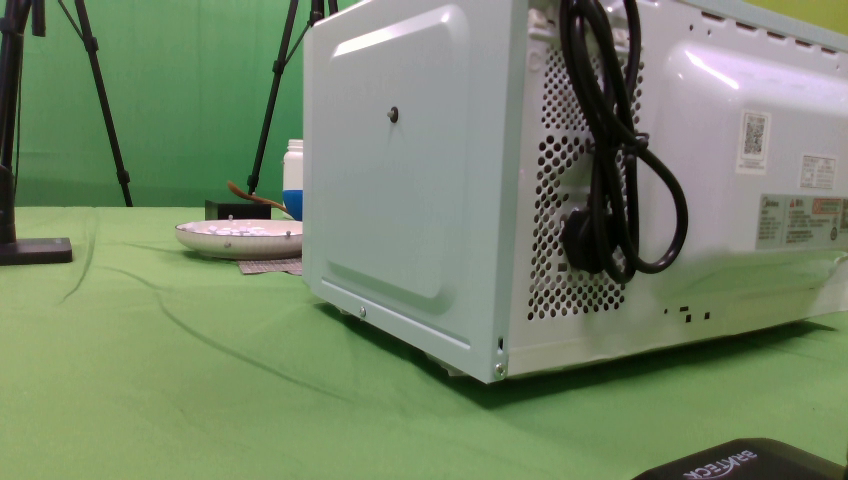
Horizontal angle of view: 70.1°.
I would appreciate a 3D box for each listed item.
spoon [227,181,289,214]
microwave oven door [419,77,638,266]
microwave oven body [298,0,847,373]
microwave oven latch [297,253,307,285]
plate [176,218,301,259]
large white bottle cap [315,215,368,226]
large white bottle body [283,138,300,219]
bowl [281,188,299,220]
[{"bbox_3d":[-0.315,-0.074,1.234,0.195,0.021,0.041,24,-10,-37],"label":"spoon"},{"bbox_3d":[0.133,-0.105,0.893,0.354,0.243,0.039,9,10,43],"label":"microwave oven door"},{"bbox_3d":[0.151,-0.055,0.542,0.444,0.260,0.324,-1,7,-33],"label":"microwave oven body"},{"bbox_3d":[-0.082,0.027,0.582,0.079,0.029,0.030,-1,7,-33],"label":"microwave oven latch"},{"bbox_3d":[-0.248,-0.003,0.877,0.209,0.038,0.209,1,8,0],"label":"plate"},{"bbox_3d":[-0.177,-0.042,1.309,0.115,0.018,0.115,2,5,0],"label":"large white bottle cap"},{"bbox_3d":[-0.265,-0.144,1.423,0.131,0.184,0.130,2,7,0],"label":"large white bottle body"},{"bbox_3d":[-0.190,-0.053,1.129,0.151,0.077,0.151,3,8,0],"label":"bowl"}]
